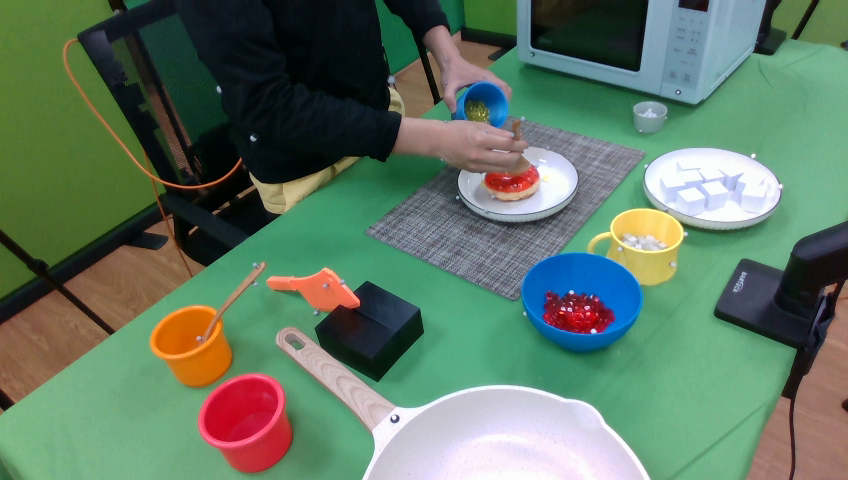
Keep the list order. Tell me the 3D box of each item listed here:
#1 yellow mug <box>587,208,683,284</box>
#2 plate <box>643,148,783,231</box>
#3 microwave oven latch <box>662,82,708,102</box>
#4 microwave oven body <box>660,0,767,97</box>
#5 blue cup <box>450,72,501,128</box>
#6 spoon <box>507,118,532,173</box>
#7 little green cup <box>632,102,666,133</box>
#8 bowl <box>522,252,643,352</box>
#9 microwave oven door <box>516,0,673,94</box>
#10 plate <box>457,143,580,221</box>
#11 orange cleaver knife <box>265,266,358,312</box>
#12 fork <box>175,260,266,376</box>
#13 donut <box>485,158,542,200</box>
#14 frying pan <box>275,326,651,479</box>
[{"bbox_3d":[0.305,0.009,0.884,0.131,0.064,0.099,-4,41,5],"label":"yellow mug"},{"bbox_3d":[0.464,-0.079,0.985,0.207,0.039,0.206,-4,40,4],"label":"plate"},{"bbox_3d":[0.518,-0.298,1.203,0.078,0.029,0.030,28,53,35],"label":"microwave oven latch"},{"bbox_3d":[0.473,-0.516,1.313,0.438,0.261,0.327,26,51,34],"label":"microwave oven body"},{"bbox_3d":[0.084,-0.237,1.067,0.093,0.092,0.100,-11,5,-5],"label":"blue cup"},{"bbox_3d":[0.141,-0.140,0.911,0.041,0.195,0.021,-15,70,6],"label":"spoon"},{"bbox_3d":[0.434,-0.237,1.171,0.061,0.039,0.061,-5,40,5],"label":"little green cup"},{"bbox_3d":[0.204,0.093,0.791,0.151,0.077,0.150,-4,40,4],"label":"bowl"},{"bbox_3d":[0.344,-0.458,1.256,0.353,0.245,0.039,26,52,33],"label":"microwave oven door"},{"bbox_3d":[0.161,-0.097,1.042,0.209,0.038,0.208,-4,41,4],"label":"plate"},{"bbox_3d":[-0.164,0.073,0.864,0.210,0.077,0.012,-6,30,50],"label":"orange cleaver knife"},{"bbox_3d":[-0.268,0.103,0.792,0.207,0.019,0.028,-51,41,16],"label":"fork"},{"bbox_3d":[0.153,-0.108,1.040,0.099,0.048,0.098,-6,38,6],"label":"donut"},{"bbox_3d":[0.003,0.229,0.641,0.484,0.103,0.308,34,54,28],"label":"frying pan"}]
